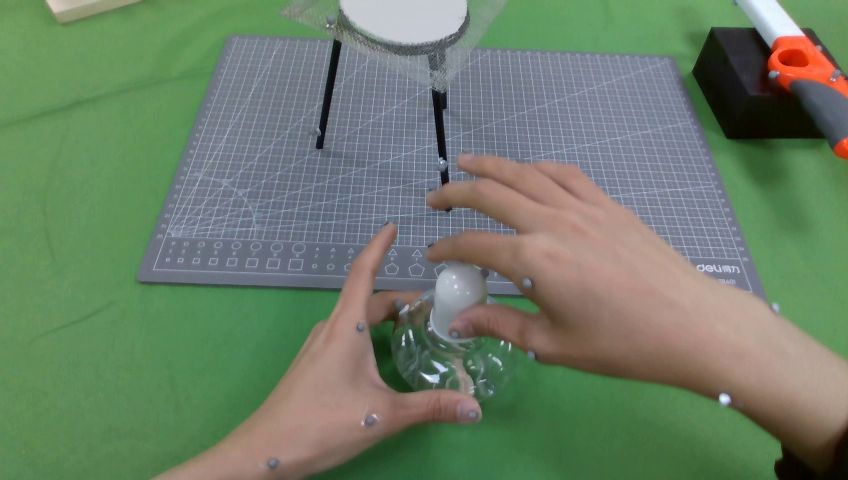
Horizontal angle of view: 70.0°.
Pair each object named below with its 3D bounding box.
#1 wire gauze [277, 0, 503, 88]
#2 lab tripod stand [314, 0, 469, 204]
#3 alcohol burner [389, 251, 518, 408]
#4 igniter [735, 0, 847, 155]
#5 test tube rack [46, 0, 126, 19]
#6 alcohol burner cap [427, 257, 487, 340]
[{"bbox_3d":[-0.015,-0.160,0.409,0.124,0.011,0.121,25,55,13],"label":"wire gauze"},{"bbox_3d":[-0.014,-0.118,0.461,0.148,0.132,0.147,3,52,-4],"label":"lab tripod stand"},{"bbox_3d":[0.018,0.049,0.351,0.078,0.120,0.077,1,51,-1],"label":"alcohol burner"},{"bbox_3d":[0.323,-0.171,0.534,0.057,0.025,0.273,-2,50,-1],"label":"igniter"},{"bbox_3d":[-0.286,-0.321,0.634,0.242,0.086,0.066,-28,60,-23],"label":"test tube rack"},{"bbox_3d":[0.018,0.029,0.327,0.034,0.048,0.033,0,50,0],"label":"alcohol burner cap"}]
